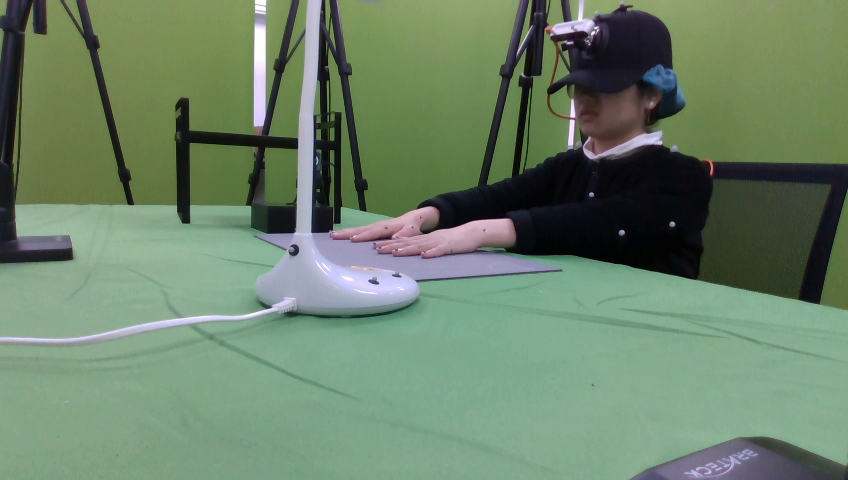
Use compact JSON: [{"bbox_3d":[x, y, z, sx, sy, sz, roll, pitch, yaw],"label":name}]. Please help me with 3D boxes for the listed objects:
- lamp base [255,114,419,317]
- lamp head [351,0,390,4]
[{"bbox_3d":[-0.086,-0.027,0.577,0.160,0.180,0.179,4,10,16],"label":"lamp base"},{"bbox_3d":[-0.053,-0.313,0.597,0.112,0.112,0.123,6,-28,25],"label":"lamp head"}]
